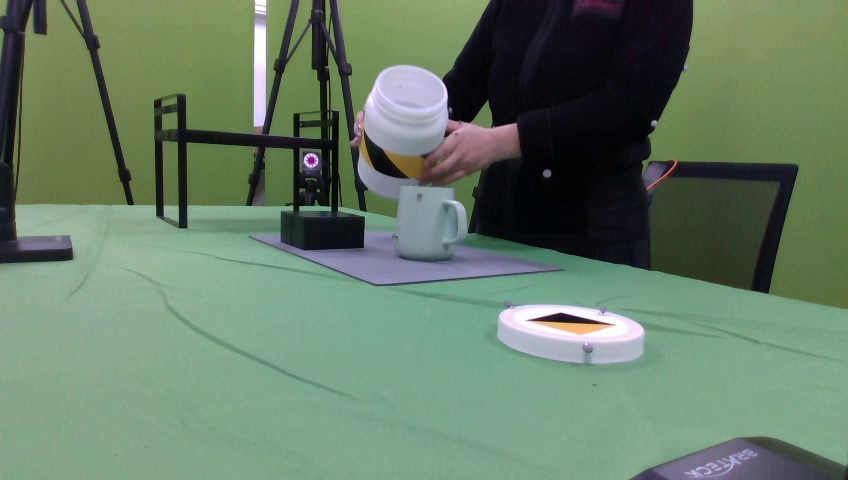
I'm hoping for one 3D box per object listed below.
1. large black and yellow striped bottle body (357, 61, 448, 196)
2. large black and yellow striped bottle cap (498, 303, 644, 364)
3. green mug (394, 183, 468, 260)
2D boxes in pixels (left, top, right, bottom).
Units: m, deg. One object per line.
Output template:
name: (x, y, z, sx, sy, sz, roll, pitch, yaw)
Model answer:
large black and yellow striped bottle body: (-0.035, -0.174, 0.958, 0.131, 0.184, 0.130, 7, 49, -7)
large black and yellow striped bottle cap: (0.117, 0.072, 0.486, 0.115, 0.019, 0.115, 1, 8, 0)
green mug: (0.015, -0.026, 0.858, 0.093, 0.105, 0.124, -4, 9, -41)
